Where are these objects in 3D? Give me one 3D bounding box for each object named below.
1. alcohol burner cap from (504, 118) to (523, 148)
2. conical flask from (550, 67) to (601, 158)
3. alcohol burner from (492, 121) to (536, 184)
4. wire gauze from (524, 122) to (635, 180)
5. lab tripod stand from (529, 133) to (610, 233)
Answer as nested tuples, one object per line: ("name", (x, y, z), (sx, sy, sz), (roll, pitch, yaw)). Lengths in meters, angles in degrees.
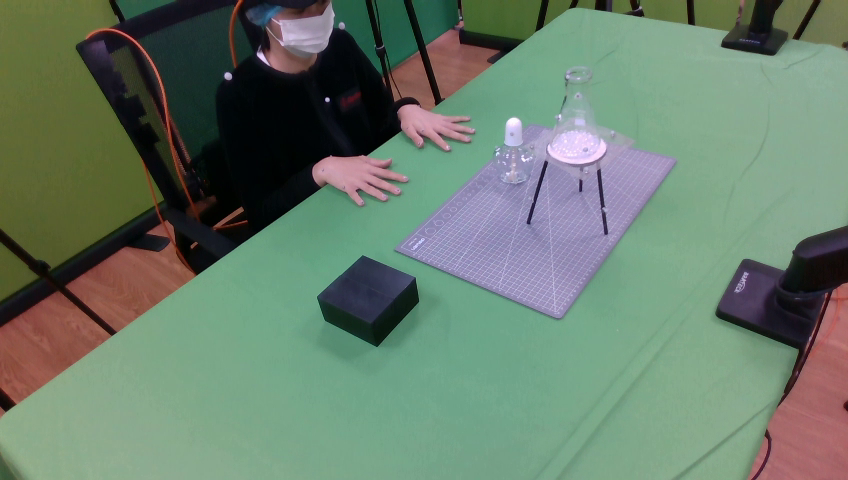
("alcohol burner cap", (0.154, -0.186, 1.042), (0.034, 0.048, 0.033), (-4, 33, 3))
("conical flask", (0.221, -0.186, 0.875), (0.075, 0.122, 0.075), (-5, 40, 5))
("alcohol burner", (0.159, -0.158, 1.064), (0.078, 0.119, 0.077), (-3, 41, 3))
("wire gauze", (0.233, -0.142, 0.913), (0.122, 0.011, 0.124), (-31, 42, -26))
("lab tripod stand", (0.236, -0.089, 0.953), (0.148, 0.132, 0.147), (-5, 42, 5))
